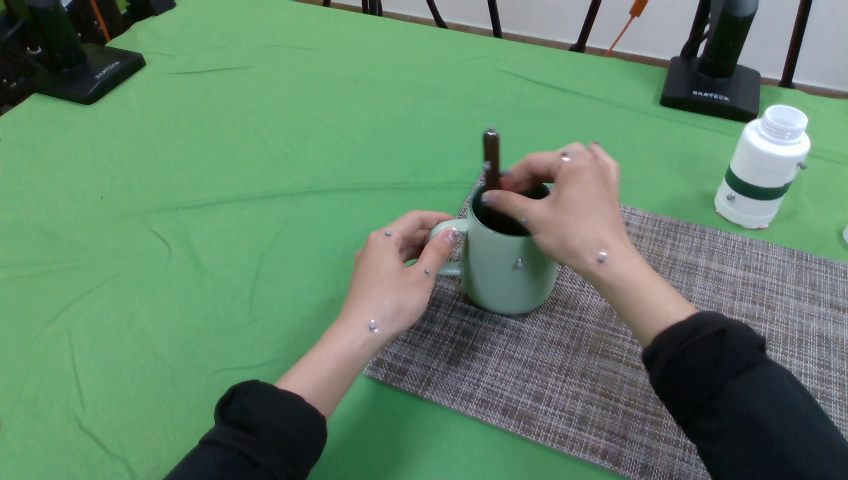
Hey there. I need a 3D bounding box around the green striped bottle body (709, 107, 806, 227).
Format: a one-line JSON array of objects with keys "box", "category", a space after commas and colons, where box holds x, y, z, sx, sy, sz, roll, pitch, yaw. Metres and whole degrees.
[{"box": [0.343, -0.076, 0.621, 0.063, 0.120, 0.062, 0, 46, 1], "category": "green striped bottle body"}]

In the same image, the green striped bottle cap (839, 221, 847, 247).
[{"box": [0.454, -0.004, 0.622, 0.044, 0.020, 0.044, 0, 42, 0], "category": "green striped bottle cap"}]

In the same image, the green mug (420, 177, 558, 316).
[{"box": [0.059, 0.009, 0.550, 0.125, 0.106, 0.091, -6, 46, -4], "category": "green mug"}]

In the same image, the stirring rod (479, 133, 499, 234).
[{"box": [0.058, -0.030, 0.529, 0.014, 0.178, 0.006, 9, 57, 14], "category": "stirring rod"}]
